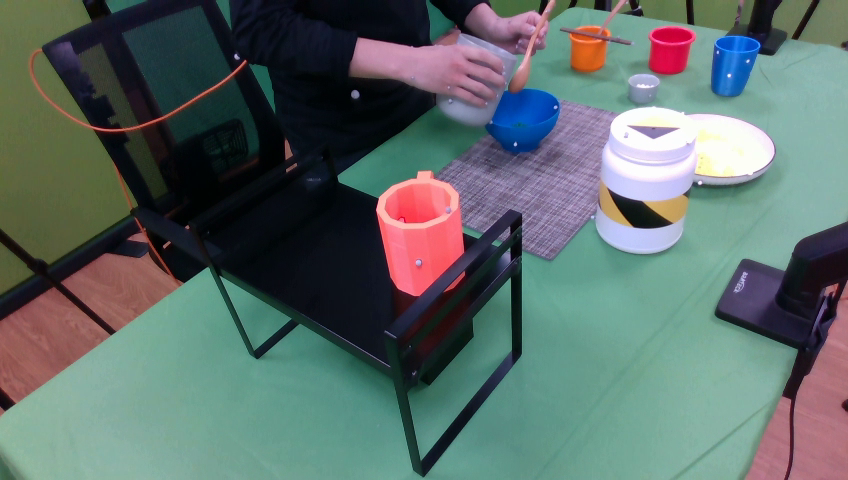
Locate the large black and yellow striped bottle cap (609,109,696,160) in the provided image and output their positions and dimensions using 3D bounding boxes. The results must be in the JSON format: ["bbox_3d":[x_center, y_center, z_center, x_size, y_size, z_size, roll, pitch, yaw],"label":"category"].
[{"bbox_3d":[0.319,-0.150,0.849,0.115,0.019,0.114,-4,39,3],"label":"large black and yellow striped bottle cap"}]

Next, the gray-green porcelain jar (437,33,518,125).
[{"bbox_3d":[0.085,-0.266,1.016,0.106,0.126,0.105,18,27,-9],"label":"gray-green porcelain jar"}]

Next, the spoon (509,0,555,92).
[{"bbox_3d":[0.196,-0.353,1.090,0.021,0.042,0.193,17,80,28],"label":"spoon"}]

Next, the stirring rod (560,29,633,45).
[{"bbox_3d":[0.381,-0.452,1.345,0.174,0.006,0.014,25,49,33],"label":"stirring rod"}]

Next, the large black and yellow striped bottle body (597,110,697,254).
[{"bbox_3d":[0.331,-0.086,0.904,0.131,0.185,0.130,-5,41,4],"label":"large black and yellow striped bottle body"}]

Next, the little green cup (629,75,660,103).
[{"bbox_3d":[0.457,-0.314,1.260,0.061,0.039,0.061,-4,40,4],"label":"little green cup"}]

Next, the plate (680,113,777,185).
[{"bbox_3d":[0.506,-0.158,1.073,0.209,0.038,0.208,-4,40,4],"label":"plate"}]

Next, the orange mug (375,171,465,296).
[{"bbox_3d":[0.000,-0.016,0.661,0.083,0.101,0.125,-2,45,8],"label":"orange mug"}]

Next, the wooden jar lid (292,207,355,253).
[{"bbox_3d":[-0.169,-0.015,1.026,0.108,0.021,0.108,-4,39,4],"label":"wooden jar lid"}]

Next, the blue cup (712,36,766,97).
[{"bbox_3d":[0.627,-0.350,1.227,0.092,0.100,0.092,-4,39,4],"label":"blue cup"}]

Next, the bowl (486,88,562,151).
[{"bbox_3d":[0.187,-0.223,1.161,0.151,0.077,0.150,-4,40,4],"label":"bowl"}]

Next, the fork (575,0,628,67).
[{"bbox_3d":[0.413,-0.481,1.377,0.207,0.019,0.028,-56,43,12],"label":"fork"}]
